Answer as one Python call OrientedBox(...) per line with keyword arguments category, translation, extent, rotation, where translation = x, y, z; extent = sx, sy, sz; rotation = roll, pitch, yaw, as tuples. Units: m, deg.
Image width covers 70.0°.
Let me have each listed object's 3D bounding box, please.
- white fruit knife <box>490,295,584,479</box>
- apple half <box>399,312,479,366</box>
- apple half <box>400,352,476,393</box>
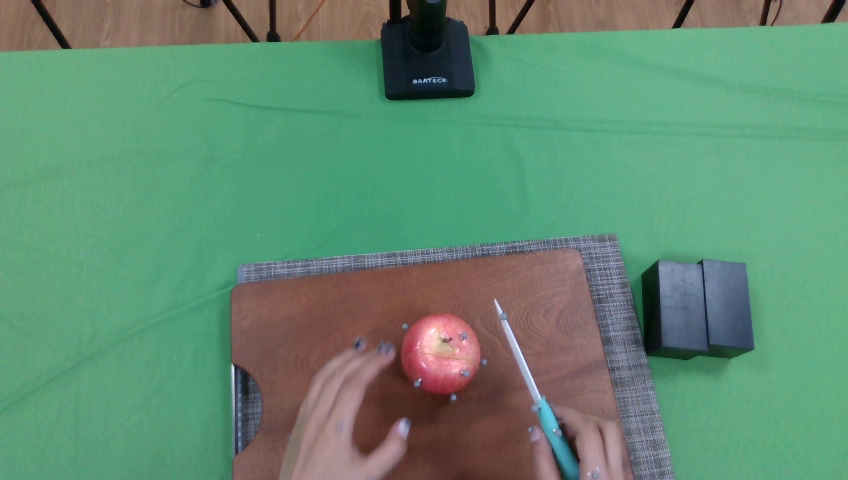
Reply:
OrientedBox(category="white fruit knife", translation=(0.099, 0.141, 0.523), extent=(0.016, 0.027, 0.207), rotation=(-25, 94, -12))
OrientedBox(category="apple half", translation=(0.017, 0.103, 0.624), extent=(0.081, 0.075, 0.053), rotation=(5, 64, 3))
OrientedBox(category="apple half", translation=(0.012, 0.138, 0.608), extent=(0.081, 0.082, 0.032), rotation=(7, 64, -1))
